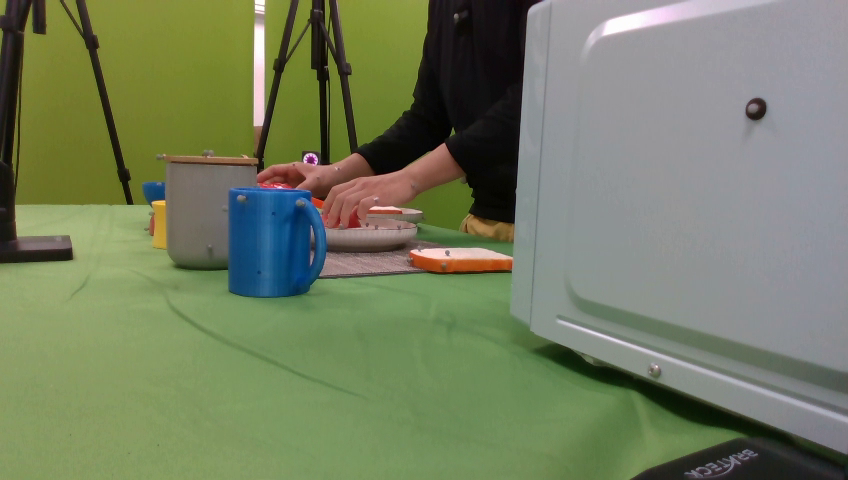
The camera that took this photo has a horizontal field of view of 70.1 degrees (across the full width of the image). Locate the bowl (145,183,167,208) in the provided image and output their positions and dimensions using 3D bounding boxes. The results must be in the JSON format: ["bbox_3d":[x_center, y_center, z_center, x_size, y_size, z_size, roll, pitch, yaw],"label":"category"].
[{"bbox_3d":[-0.459,-0.069,1.175,0.151,0.077,0.151,3,7,0],"label":"bowl"}]

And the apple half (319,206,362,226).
[{"bbox_3d":[-0.142,-0.041,1.002,0.081,0.033,0.081,-1,7,0],"label":"apple half"}]

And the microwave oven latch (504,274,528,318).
[{"bbox_3d":[0.100,0.041,0.471,0.079,0.029,0.030,-1,8,-28],"label":"microwave oven latch"}]

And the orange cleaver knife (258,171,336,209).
[{"bbox_3d":[-0.283,-0.087,1.343,0.212,0.077,0.012,24,-16,-41],"label":"orange cleaver knife"}]

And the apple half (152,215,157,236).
[{"bbox_3d":[-0.415,-0.034,1.017,0.081,0.053,0.074,1,10,-9],"label":"apple half"}]

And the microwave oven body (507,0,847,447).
[{"bbox_3d":[0.331,-0.042,0.425,0.444,0.260,0.324,-2,8,-31],"label":"microwave oven body"}]

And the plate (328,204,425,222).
[{"bbox_3d":[-0.102,-0.053,1.299,0.209,0.038,0.209,2,7,0],"label":"plate"}]

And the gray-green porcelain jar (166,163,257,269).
[{"bbox_3d":[-0.263,-0.031,0.754,0.106,0.126,0.106,2,7,0],"label":"gray-green porcelain jar"}]

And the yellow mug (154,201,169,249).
[{"bbox_3d":[-0.337,-0.022,0.899,0.130,0.064,0.100,8,9,34],"label":"yellow mug"}]

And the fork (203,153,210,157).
[{"bbox_3d":[-0.480,-0.134,1.411,0.028,0.018,0.207,1,-35,0],"label":"fork"}]

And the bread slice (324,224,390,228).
[{"bbox_3d":[-0.116,-0.014,0.974,0.135,0.018,0.106,-3,7,-42],"label":"bread slice"}]

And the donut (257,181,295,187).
[{"bbox_3d":[-0.278,-0.082,1.086,0.099,0.048,0.099,1,6,0],"label":"donut"}]

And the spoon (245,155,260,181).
[{"bbox_3d":[-0.421,-0.150,1.540,0.042,0.021,0.193,-5,55,-37],"label":"spoon"}]

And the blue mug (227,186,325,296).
[{"bbox_3d":[-0.147,0.000,0.618,0.116,0.106,0.083,7,9,32],"label":"blue mug"}]

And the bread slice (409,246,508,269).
[{"bbox_3d":[0.048,0.022,0.816,0.132,0.019,0.104,0,7,-24],"label":"bread slice"}]

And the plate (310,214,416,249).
[{"bbox_3d":[-0.116,-0.014,0.967,0.208,0.039,0.207,2,8,0],"label":"plate"}]

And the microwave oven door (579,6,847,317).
[{"bbox_3d":[0.294,-0.067,0.570,0.358,0.243,0.039,-3,9,-31],"label":"microwave oven door"}]

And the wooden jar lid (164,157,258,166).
[{"bbox_3d":[-0.261,-0.093,0.746,0.108,0.020,0.108,1,9,0],"label":"wooden jar lid"}]
